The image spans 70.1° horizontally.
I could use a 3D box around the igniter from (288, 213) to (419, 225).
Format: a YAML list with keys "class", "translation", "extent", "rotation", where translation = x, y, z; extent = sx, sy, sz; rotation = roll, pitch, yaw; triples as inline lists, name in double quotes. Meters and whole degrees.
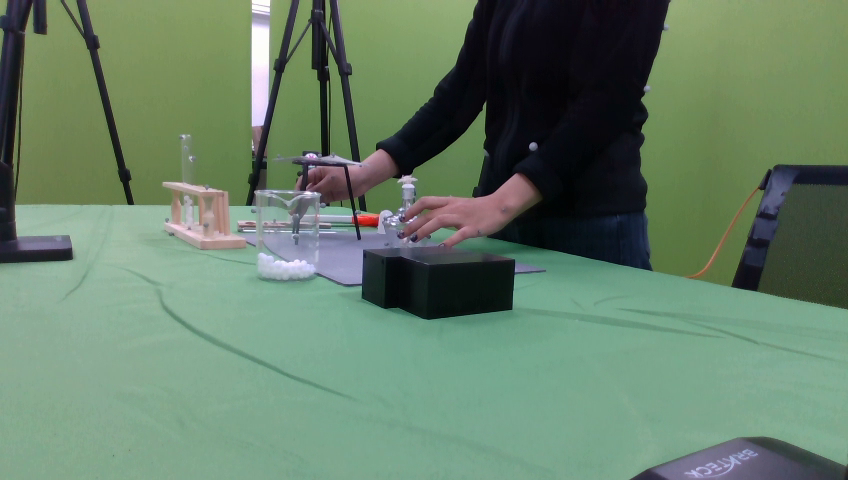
- class: "igniter"
  translation: [-0.144, -0.044, 1.277]
  extent: [0.278, 0.025, 0.057]
  rotation: [0, -2, -22]

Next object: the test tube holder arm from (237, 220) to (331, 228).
- class: "test tube holder arm"
  translation: [-0.261, -0.029, 1.141]
  extent: [0.179, 0.015, 0.013]
  rotation: [-2, 41, -33]

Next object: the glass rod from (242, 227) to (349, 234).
- class: "glass rod"
  translation: [-0.232, -0.016, 1.110]
  extent: [0.201, 0.008, 0.008]
  rotation: [2, 6, -30]

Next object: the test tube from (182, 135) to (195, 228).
- class: "test tube"
  translation: [-0.382, -0.095, 0.983]
  extent: [0.017, 0.150, 0.017]
  rotation: [-1, 2, 0]

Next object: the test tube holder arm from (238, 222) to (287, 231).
- class: "test tube holder arm"
  translation: [-0.297, -0.024, 1.113]
  extent: [0.088, 0.015, 0.010]
  rotation: [-2, 41, -32]

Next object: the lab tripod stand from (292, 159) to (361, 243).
- class: "lab tripod stand"
  translation: [-0.175, -0.067, 1.004]
  extent: [0.148, 0.131, 0.148]
  rotation: [4, 9, 0]

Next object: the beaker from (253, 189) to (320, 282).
- class: "beaker"
  translation: [-0.156, -0.005, 0.689]
  extent: [0.074, 0.100, 0.083]
  rotation: [0, 8, -14]

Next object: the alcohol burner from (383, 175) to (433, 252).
- class: "alcohol burner"
  translation: [-0.024, -0.041, 0.935]
  extent: [0.078, 0.119, 0.078]
  rotation: [1, 9, 0]

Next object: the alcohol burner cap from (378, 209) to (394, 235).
- class: "alcohol burner cap"
  translation: [-0.072, -0.035, 1.145]
  extent: [0.034, 0.048, 0.034]
  rotation: [2, 7, 0]

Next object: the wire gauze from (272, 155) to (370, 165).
- class: "wire gauze"
  translation: [-0.173, -0.135, 1.007]
  extent: [0.126, 0.011, 0.121]
  rotation: [-4, 11, -34]

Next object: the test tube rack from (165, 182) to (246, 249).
- class: "test tube rack"
  translation: [-0.360, -0.045, 0.982]
  extent: [0.067, 0.085, 0.241]
  rotation: [-3, 9, -34]
